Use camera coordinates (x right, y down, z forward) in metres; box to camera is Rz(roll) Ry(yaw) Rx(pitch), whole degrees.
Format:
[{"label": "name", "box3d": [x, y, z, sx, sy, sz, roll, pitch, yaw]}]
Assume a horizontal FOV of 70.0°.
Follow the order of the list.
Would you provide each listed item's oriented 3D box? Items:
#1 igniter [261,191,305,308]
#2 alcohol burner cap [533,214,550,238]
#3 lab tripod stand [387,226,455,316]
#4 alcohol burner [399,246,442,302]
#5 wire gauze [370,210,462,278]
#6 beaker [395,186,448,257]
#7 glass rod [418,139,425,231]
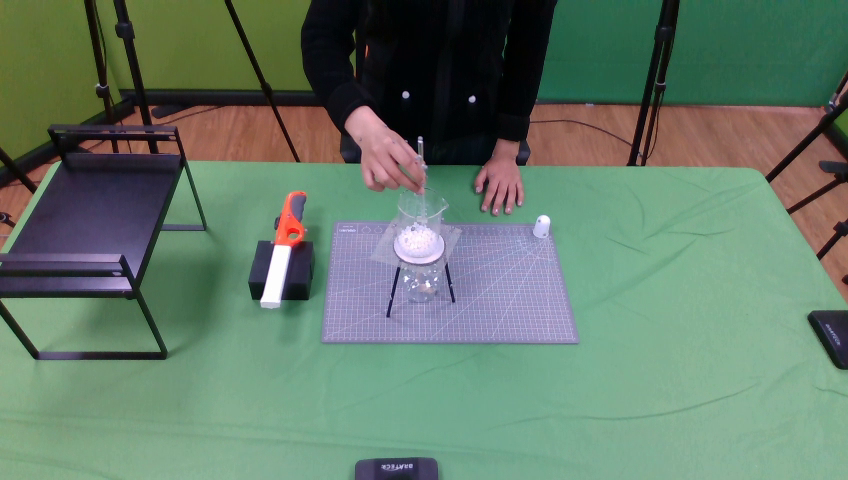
[{"label": "igniter", "box3d": [-0.255, 0.007, 1.104, 0.057, 0.025, 0.275, 5, 47, -4]}, {"label": "alcohol burner cap", "box3d": [0.240, -0.031, 1.229, 0.034, 0.048, 0.033, 1, 46, -1]}, {"label": "lab tripod stand", "box3d": [-0.013, 0.055, 1.064, 0.148, 0.132, 0.147, 2, 48, -2]}, {"label": "alcohol burner", "box3d": [-0.006, 0.055, 1.078, 0.078, 0.119, 0.077, 3, 44, -3]}, {"label": "wire gauze", "box3d": [-0.012, 0.007, 1.019, 0.121, 0.011, 0.124, 16, 51, 13]}, {"label": "beaker", "box3d": [-0.007, -0.027, 0.984, 0.084, 0.101, 0.073, 1, 48, -4]}, {"label": "glass rod", "box3d": [-0.004, -0.080, 0.943, 0.008, 0.201, 0.008, -1, 51, 1]}]
